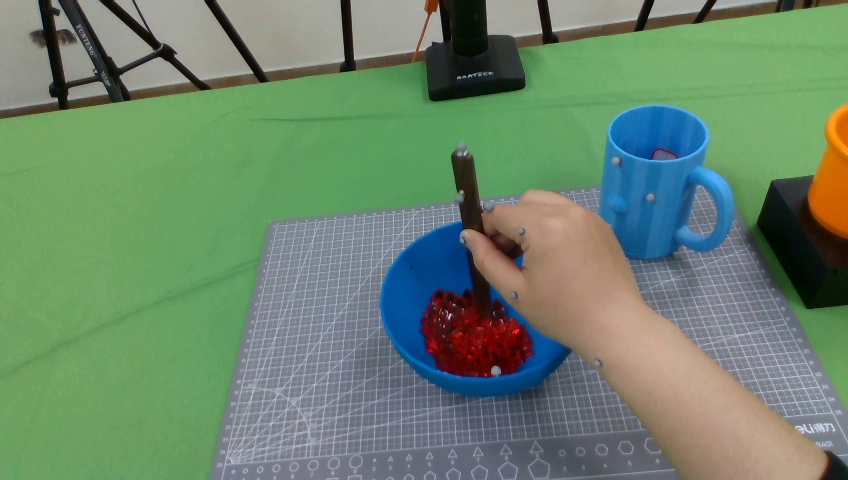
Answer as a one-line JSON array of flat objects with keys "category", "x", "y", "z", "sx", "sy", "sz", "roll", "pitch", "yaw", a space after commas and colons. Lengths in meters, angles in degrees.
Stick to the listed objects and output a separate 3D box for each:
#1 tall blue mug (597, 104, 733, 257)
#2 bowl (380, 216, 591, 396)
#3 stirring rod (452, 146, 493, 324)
[{"category": "tall blue mug", "x": 0.204, "y": -0.044, "z": 0.509, "sx": 0.106, "sy": 0.109, "sz": 0.077, "roll": 15, "pitch": 50, "yaw": 23}, {"category": "bowl", "x": 0.047, "y": 0.061, "z": 0.458, "sx": 0.151, "sy": 0.077, "sz": 0.150, "roll": -5, "pitch": 46, "yaw": 5}, {"category": "stirring rod", "x": 0.035, "y": 0.006, "z": 0.406, "sx": 0.014, "sy": 0.178, "sz": 0.006, "roll": 15, "pitch": 54, "yaw": 22}]
